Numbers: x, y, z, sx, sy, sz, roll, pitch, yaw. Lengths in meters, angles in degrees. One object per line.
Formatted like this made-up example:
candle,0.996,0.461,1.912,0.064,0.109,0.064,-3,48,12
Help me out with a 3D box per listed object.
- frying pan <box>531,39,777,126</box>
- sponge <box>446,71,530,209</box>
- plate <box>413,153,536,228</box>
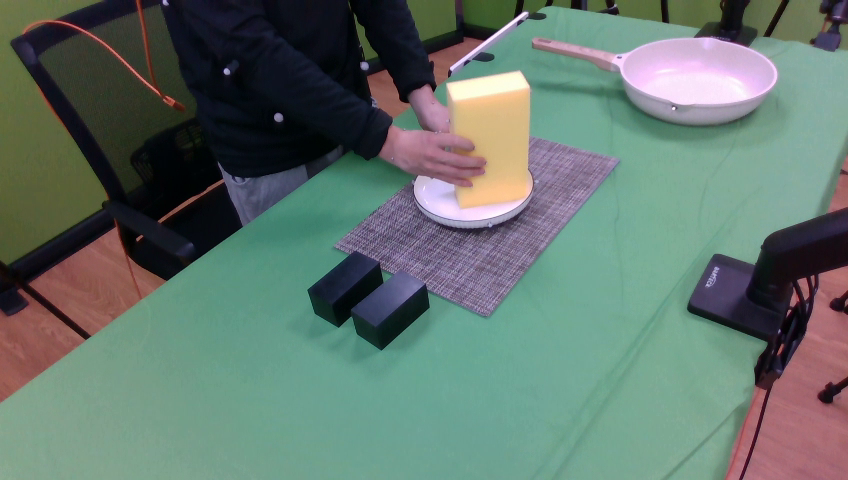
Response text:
frying pan,0.452,-0.353,1.253,0.485,0.103,0.307,22,47,19
sponge,0.104,-0.156,0.974,0.118,0.208,0.060,-10,41,-4
plate,0.087,-0.085,1.038,0.207,0.039,0.206,-4,41,4
